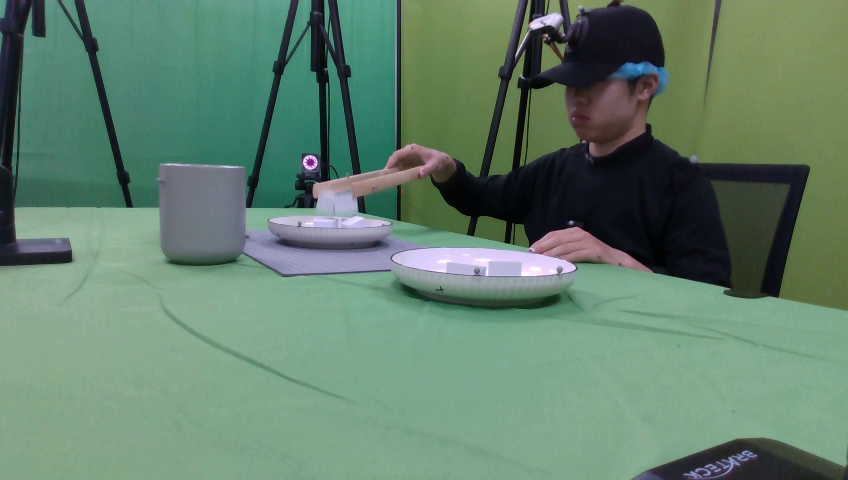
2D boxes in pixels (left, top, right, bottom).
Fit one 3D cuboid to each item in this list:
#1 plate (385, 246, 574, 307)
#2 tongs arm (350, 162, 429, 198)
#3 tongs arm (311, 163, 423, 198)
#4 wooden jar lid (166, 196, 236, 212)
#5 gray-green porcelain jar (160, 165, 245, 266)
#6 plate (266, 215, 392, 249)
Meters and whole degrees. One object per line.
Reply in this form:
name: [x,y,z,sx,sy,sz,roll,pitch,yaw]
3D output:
plate: [0.060,0.041,0.678,0.208,0.039,0.207,3,7,0]
tongs arm: [-0.056,-0.121,1.173,0.028,0.028,0.388,-5,10,21]
tongs arm: [-0.096,-0.122,1.190,0.050,0.026,0.386,0,12,22]
wooden jar lid: [-0.369,-0.060,1.001,0.108,0.020,0.108,3,6,0]
gray-green porcelain jar: [-0.291,-0.034,0.799,0.106,0.126,0.106,2,8,0]
plate: [-0.159,-0.015,1.019,0.209,0.038,0.209,3,7,0]
